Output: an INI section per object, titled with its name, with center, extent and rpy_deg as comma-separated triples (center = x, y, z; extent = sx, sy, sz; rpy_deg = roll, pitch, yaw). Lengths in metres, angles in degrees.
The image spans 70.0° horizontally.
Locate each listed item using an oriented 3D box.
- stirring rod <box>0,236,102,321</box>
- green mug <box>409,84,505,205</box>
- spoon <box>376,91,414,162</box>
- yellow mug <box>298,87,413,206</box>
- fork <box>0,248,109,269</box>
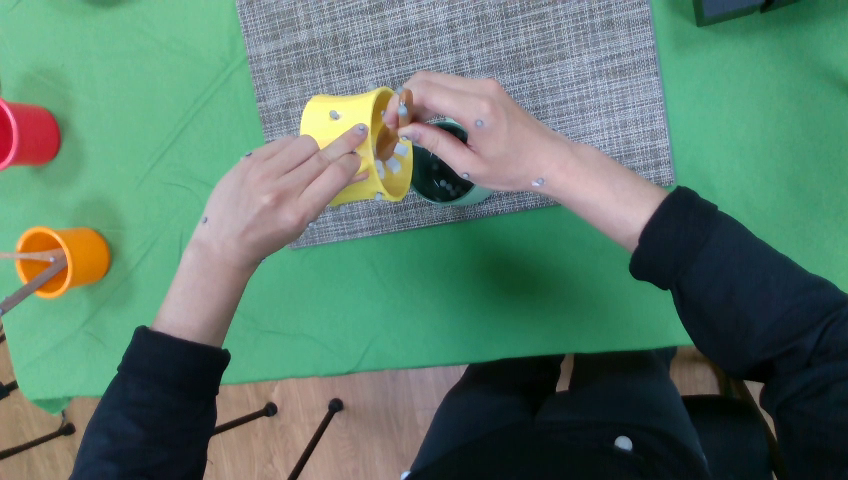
[stirring rod]
center = -0.493, 0.055, 0.779
extent = 0.014, 0.006, 0.176
rpy_deg = 41, 64, 6
[green mug]
center = 0.033, -0.096, 0.622
extent = 0.092, 0.105, 0.125
rpy_deg = 8, 100, 15
[spoon]
center = -0.020, -0.090, 0.474
extent = 0.022, 0.193, 0.041
rpy_deg = 27, 86, -9
[yellow mug]
center = -0.062, -0.074, 0.528
extent = 0.064, 0.130, 0.100
rpy_deg = -2, 117, 20
[fork]
center = -0.521, 0.023, 0.776
extent = 0.208, 0.018, 0.028
rpy_deg = 2, 98, -28
